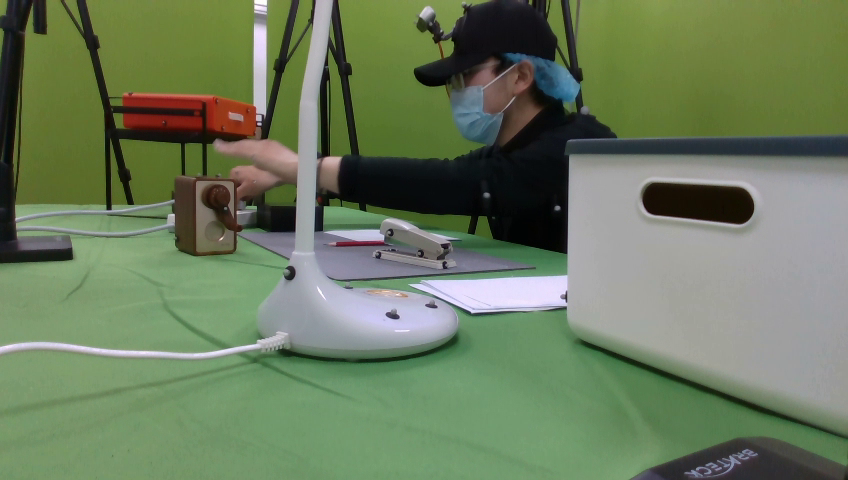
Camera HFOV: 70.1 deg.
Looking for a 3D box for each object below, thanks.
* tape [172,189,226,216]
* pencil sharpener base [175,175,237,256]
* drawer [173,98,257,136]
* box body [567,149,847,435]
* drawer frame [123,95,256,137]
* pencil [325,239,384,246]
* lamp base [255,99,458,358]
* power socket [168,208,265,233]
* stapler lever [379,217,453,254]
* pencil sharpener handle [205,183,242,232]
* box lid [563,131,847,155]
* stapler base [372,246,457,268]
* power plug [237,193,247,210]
[{"bbox_3d":[-0.515,-0.087,1.388,0.117,0.052,0.117,3,8,0],"label":"tape"},{"bbox_3d":[-0.304,-0.036,0.847,0.062,0.107,0.076,-4,10,-42],"label":"pencil sharpener base"},{"bbox_3d":[-0.518,-0.279,1.376,0.211,0.073,0.195,3,8,9],"label":"drawer"},{"bbox_3d":[0.318,0.009,0.471,0.366,0.160,0.253,-2,8,-31],"label":"box body"},{"bbox_3d":[-0.524,-0.281,1.376,0.213,0.082,0.202,3,8,8],"label":"drawer frame"},{"bbox_3d":[-0.066,0.003,0.980,0.195,0.012,0.012,-3,9,-25],"label":"pencil"},{"bbox_3d":[-0.056,-0.013,0.462,0.160,0.180,0.180,6,11,27],"label":"lamp base"},{"bbox_3d":[-0.381,-0.038,1.129,0.072,0.032,0.227,4,8,17],"label":"power socket"},{"bbox_3d":[-0.013,-0.007,0.828,0.117,0.040,0.027,9,11,39],"label":"stapler lever"},{"bbox_3d":[-0.265,-0.043,0.812,0.036,0.068,0.030,-31,27,-35],"label":"pencil sharpener handle"},{"bbox_3d":[0.322,-0.064,0.463,0.373,0.015,0.262,-2,9,-31],"label":"box lid"},{"bbox_3d":[-0.016,0.017,0.831,0.130,0.024,0.041,10,11,39],"label":"stapler base"},{"bbox_3d":[-0.386,-0.071,1.204,0.072,0.052,0.035,7,11,25],"label":"power plug"}]
